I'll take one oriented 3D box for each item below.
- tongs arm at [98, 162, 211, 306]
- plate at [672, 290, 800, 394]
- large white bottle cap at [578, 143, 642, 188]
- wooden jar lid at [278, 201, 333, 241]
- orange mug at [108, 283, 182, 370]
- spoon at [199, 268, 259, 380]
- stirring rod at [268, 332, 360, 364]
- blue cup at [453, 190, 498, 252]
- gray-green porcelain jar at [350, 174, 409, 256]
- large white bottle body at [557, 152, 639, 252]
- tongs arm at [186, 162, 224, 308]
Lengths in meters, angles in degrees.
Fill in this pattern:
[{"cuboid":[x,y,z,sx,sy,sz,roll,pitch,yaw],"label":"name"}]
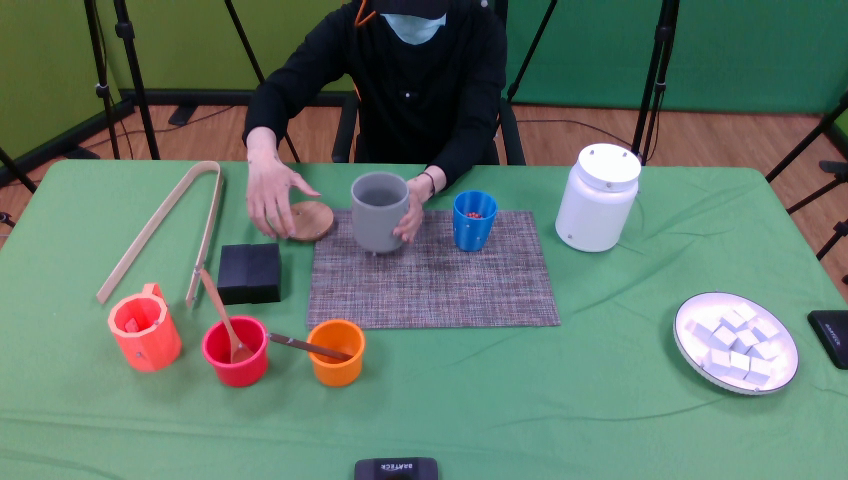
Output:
[{"cuboid":[-0.519,-0.026,1.185,0.028,0.028,0.385,4,46,14],"label":"tongs arm"},{"cuboid":[0.533,0.178,1.050,0.208,0.039,0.206,2,46,-2],"label":"plate"},{"cuboid":[0.344,-0.139,1.123,0.115,0.018,0.114,2,46,-2],"label":"large white bottle cap"},{"cuboid":[-0.235,-0.036,1.213,0.108,0.021,0.107,0,47,0],"label":"wooden jar lid"},{"cuboid":[-0.445,0.133,0.982,0.083,0.101,0.125,-1,51,-5],"label":"orange mug"},{"cuboid":[-0.312,0.132,0.962,0.041,0.021,0.194,-24,96,-21],"label":"spoon"},{"cuboid":[-0.167,0.169,0.941,0.177,0.006,0.014,26,26,-41],"label":"stirring rod"},{"cuboid":[0.093,-0.032,1.174,0.093,0.101,0.092,3,45,-3],"label":"blue cup"},{"cuboid":[-0.082,-0.042,1.127,0.106,0.127,0.105,2,45,-2],"label":"gray-green porcelain jar"},{"cuboid":[0.340,-0.081,1.184,0.131,0.185,0.130,2,46,-1],"label":"large white bottle body"},{"cuboid":[-0.435,-0.025,1.180,0.051,0.027,0.382,-4,46,1],"label":"tongs arm"}]
